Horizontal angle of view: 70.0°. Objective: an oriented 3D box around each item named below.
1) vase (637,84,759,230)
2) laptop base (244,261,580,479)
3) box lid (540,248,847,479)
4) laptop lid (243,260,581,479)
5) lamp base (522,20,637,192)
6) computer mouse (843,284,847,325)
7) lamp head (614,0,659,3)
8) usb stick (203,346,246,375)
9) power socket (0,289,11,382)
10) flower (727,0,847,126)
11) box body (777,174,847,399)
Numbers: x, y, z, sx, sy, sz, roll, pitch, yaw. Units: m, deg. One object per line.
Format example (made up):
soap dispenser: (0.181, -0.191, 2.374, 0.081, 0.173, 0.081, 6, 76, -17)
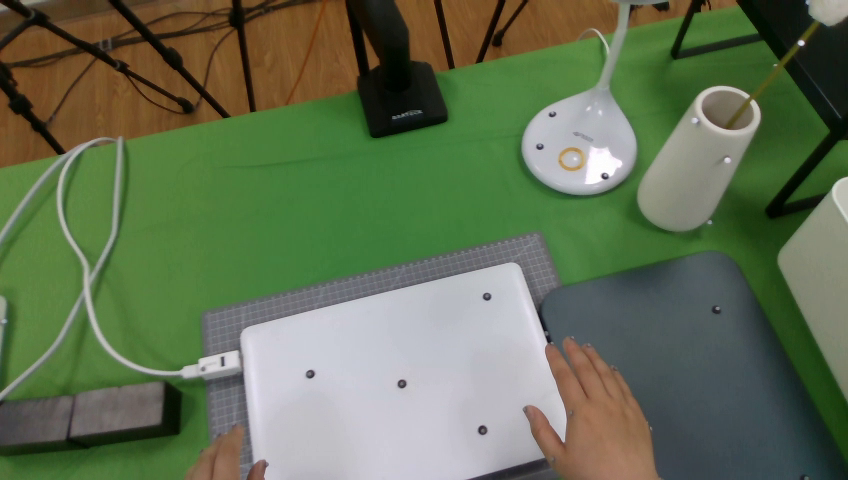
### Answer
vase: (0.326, -0.095, 0.733, 0.098, 0.201, 0.097, -2, 61, 3)
laptop base: (-0.022, 0.166, 0.708, 0.355, 0.023, 0.233, -13, 66, -5)
box lid: (0.308, 0.188, 0.690, 0.263, 0.015, 0.368, -13, 63, -6)
laptop lid: (-0.022, 0.163, 0.697, 0.357, 0.013, 0.239, -12, 65, -4)
lamp base: (0.220, -0.183, 0.794, 0.160, 0.182, 0.178, 17, 61, 11)
computer mouse: (0.548, 0.061, 0.728, 0.062, 0.041, 0.116, 20, 60, 15)
lamp head: (0.183, -0.277, 0.506, 0.112, 0.113, 0.122, 14, 81, 9)
usb stick: (-0.227, 0.140, 0.713, 0.059, 0.027, 0.021, -9, 62, -9)
power socket: (-0.547, 0.155, 0.722, 0.072, 0.033, 0.224, -10, 62, -5)
flower: (0.343, -0.138, 0.662, 0.038, 0.364, 0.043, 2, 52, -16)
box body: (0.588, 0.103, 0.641, 0.254, 0.161, 0.360, -11, 62, -3)
